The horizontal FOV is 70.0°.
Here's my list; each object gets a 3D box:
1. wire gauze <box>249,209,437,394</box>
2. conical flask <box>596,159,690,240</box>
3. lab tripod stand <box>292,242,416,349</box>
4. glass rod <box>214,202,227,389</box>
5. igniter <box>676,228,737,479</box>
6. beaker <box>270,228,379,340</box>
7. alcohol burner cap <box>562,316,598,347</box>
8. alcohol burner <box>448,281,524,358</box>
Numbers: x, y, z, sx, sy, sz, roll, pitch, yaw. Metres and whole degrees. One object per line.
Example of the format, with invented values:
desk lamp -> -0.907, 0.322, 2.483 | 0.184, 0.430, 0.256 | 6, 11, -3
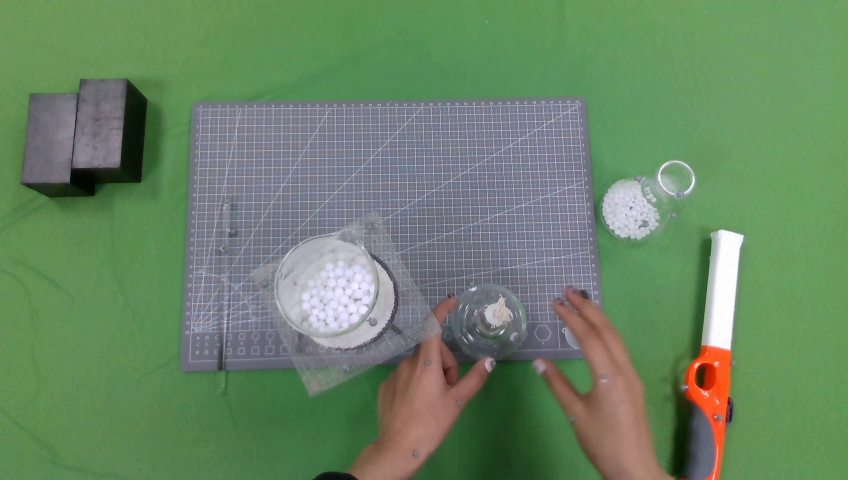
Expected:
wire gauze -> -0.070, 0.051, 0.522 | 0.125, 0.011, 0.121 | -26, 83, -9
conical flask -> 0.231, -0.047, 0.627 | 0.075, 0.122, 0.075 | 0, 78, -1
lab tripod stand -> -0.074, 0.064, 0.586 | 0.148, 0.132, 0.148 | 0, 81, -2
glass rod -> -0.216, 0.056, 0.645 | 0.008, 0.008, 0.199 | 0, 82, -2
igniter -> 0.303, 0.122, 0.645 | 0.057, 0.025, 0.275 | 14, 79, -9
beaker -> -0.071, 0.038, 0.475 | 0.074, 0.100, 0.083 | 20, 79, 2
alcohol burner cap -> 0.166, 0.094, 0.635 | 0.034, 0.048, 0.033 | 0, 78, -2
alcohol burner -> 0.062, 0.076, 0.598 | 0.078, 0.119, 0.077 | 0, 77, 0
